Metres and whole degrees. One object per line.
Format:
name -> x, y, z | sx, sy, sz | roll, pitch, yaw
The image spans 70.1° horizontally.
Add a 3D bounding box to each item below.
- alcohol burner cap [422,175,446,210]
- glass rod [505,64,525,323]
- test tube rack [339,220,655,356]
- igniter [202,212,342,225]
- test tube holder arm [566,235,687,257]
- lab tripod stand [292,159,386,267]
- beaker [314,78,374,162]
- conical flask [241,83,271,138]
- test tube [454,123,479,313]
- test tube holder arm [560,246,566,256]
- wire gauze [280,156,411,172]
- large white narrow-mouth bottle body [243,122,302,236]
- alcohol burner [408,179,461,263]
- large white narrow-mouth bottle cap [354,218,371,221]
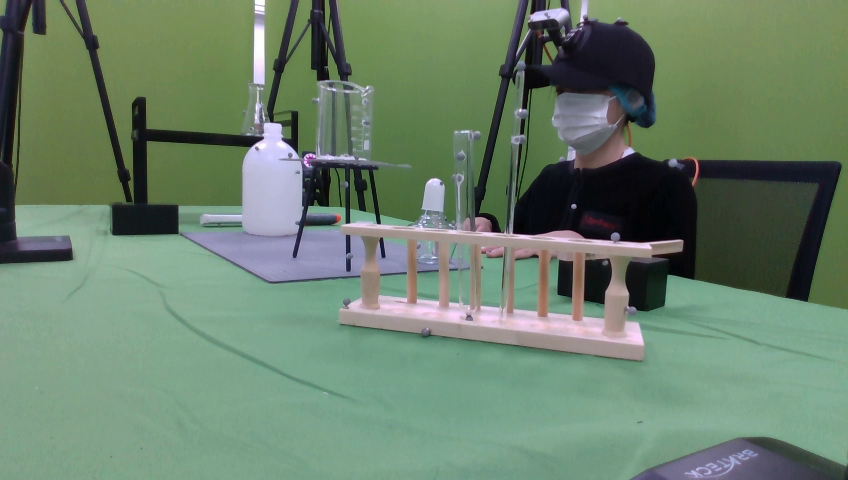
alcohol burner cap -> 0.016, -0.065, 0.830 | 0.034, 0.048, 0.034 | 7, 4, 0
glass rod -> 0.069, -0.030, 0.458 | 0.008, 0.199, 0.008 | 0, 15, 0
test tube rack -> 0.056, 0.032, 0.495 | 0.242, 0.085, 0.067 | 4, 7, 15
igniter -> -0.298, -0.043, 1.216 | 0.278, 0.025, 0.057 | -3, -2, -32
test tube holder arm -> 0.215, 0.006, 0.630 | 0.179, 0.015, 0.013 | -3, 10, -31
lab tripod stand -> -0.105, -0.039, 0.797 | 0.148, 0.131, 0.148 | 2, 5, 0
beaker -> -0.101, -0.150, 0.773 | 0.074, 0.100, 0.083 | -2, 8, -40
conical flask -> -0.384, -0.297, 1.393 | 0.075, 0.122, 0.075 | 2, 7, 0
test tube -> 0.034, -0.016, 0.477 | 0.017, 0.150, 0.017 | -2, 9, 1
test tube holder arm -> 0.173, 0.007, 0.611 | 0.088, 0.015, 0.010 | -3, 10, -30
wire gauze -> -0.103, -0.103, 0.785 | 0.121, 0.011, 0.126 | 11, 8, 42
large white narrow-mouth bottle body -> -0.264, -0.109, 1.061 | 0.102, 0.194, 0.102 | 2, 8, 0
alcohol burner -> 0.013, -0.029, 0.834 | 0.078, 0.119, 0.078 | 0, 6, 0
large white narrow-mouth bottle cap -> -0.120, -0.029, 1.184 | 0.038, 0.024, 0.037 | 2, 8, 0
